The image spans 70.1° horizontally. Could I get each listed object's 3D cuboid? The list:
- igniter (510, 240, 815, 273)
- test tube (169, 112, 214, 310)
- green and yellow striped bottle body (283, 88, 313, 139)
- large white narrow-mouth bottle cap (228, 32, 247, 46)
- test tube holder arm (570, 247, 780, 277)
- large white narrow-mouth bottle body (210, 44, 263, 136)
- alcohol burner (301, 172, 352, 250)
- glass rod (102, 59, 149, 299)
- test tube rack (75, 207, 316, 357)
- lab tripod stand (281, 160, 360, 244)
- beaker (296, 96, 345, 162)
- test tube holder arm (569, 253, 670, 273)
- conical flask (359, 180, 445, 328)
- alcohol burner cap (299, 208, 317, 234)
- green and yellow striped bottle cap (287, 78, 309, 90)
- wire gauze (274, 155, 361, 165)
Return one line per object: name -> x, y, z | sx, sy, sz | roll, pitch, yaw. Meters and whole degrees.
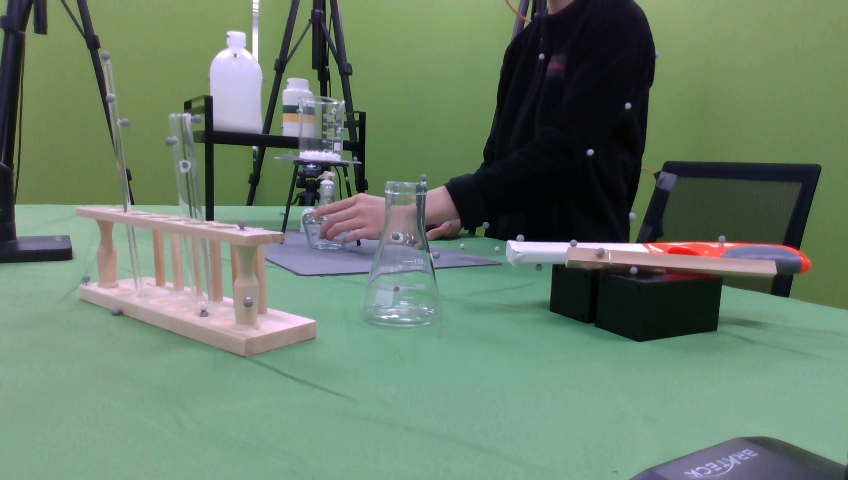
igniter -> 0.220, 0.015, 0.565 | 0.277, 0.025, 0.057 | 2, 16, 0
test tube -> -0.175, -0.020, 0.455 | 0.017, 0.150, 0.017 | -3, 9, 1
green and yellow striped bottle body -> -0.265, -0.275, 1.275 | 0.063, 0.119, 0.063 | 3, 7, 0
large white narrow-mouth bottle cap -> -0.364, -0.390, 1.180 | 0.038, 0.024, 0.037 | 3, 8, 0
test tube holder arm -> 0.217, 0.020, 0.525 | 0.178, 0.015, 0.013 | 3, -23, 3
large white narrow-mouth bottle body -> -0.369, -0.306, 1.194 | 0.102, 0.194, 0.102 | 3, 8, 0
alcohol burner -> -0.150, -0.045, 0.927 | 0.078, 0.119, 0.078 | 1, 6, 0
glass rod -> -0.244, -0.045, 0.496 | 0.008, 0.199, 0.008 | -3, 12, 1
test tube rack -> -0.196, 0.023, 0.500 | 0.241, 0.085, 0.067 | 8, 9, 36
lab tripod stand -> -0.170, -0.063, 0.983 | 0.148, 0.131, 0.148 | 1, 6, 0
beaker -> -0.163, -0.175, 0.966 | 0.083, 0.100, 0.074 | 7, 8, 34
test tube holder arm -> 0.172, 0.019, 0.532 | 0.088, 0.015, 0.010 | 3, -23, 3
conical flask -> -0.017, 0.010, 0.522 | 0.075, 0.122, 0.075 | 2, 7, 0
alcohol burner cap -> -0.213, -0.035, 1.110 | 0.034, 0.048, 0.034 | 3, 7, 0
green and yellow striped bottle cap -> -0.265, -0.326, 1.268 | 0.045, 0.020, 0.045 | 4, 6, 0
wire gauze -> -0.174, -0.129, 0.978 | 0.125, 0.011, 0.121 | -2, 6, -19
